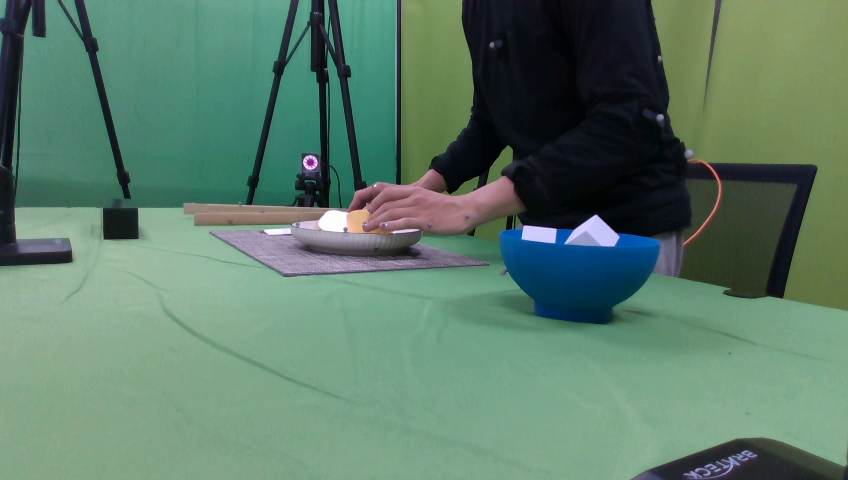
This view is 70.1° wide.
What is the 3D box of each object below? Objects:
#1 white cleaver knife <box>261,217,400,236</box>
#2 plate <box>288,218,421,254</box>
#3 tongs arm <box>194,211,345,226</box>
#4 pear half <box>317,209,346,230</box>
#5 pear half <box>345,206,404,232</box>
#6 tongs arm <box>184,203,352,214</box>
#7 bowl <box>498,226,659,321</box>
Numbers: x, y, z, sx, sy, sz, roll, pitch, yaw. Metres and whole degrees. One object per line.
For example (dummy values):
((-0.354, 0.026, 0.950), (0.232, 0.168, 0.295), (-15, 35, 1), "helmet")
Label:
((-0.168, -0.022, 1.156), (0.288, 0.021, 0.065), (-7, 18, -33), "white cleaver knife")
((-0.109, -0.007, 0.956), (0.208, 0.039, 0.207), (2, 7, 0), "plate")
((-0.298, -0.049, 1.307), (0.390, 0.028, 0.028), (-3, 8, -37), "tongs arm")
((-0.144, -0.021, 1.012), (0.071, 0.031, 0.087), (-3, 26, -25), "pear half")
((-0.069, -0.025, 0.917), (0.077, 0.056, 0.109), (-6, -4, -45), "pear half")
((-0.337, -0.065, 1.376), (0.387, 0.026, 0.050), (0, 10, -25), "tongs arm")
((0.145, 0.032, 0.584), (0.151, 0.077, 0.151), (2, 7, 0), "bowl")
